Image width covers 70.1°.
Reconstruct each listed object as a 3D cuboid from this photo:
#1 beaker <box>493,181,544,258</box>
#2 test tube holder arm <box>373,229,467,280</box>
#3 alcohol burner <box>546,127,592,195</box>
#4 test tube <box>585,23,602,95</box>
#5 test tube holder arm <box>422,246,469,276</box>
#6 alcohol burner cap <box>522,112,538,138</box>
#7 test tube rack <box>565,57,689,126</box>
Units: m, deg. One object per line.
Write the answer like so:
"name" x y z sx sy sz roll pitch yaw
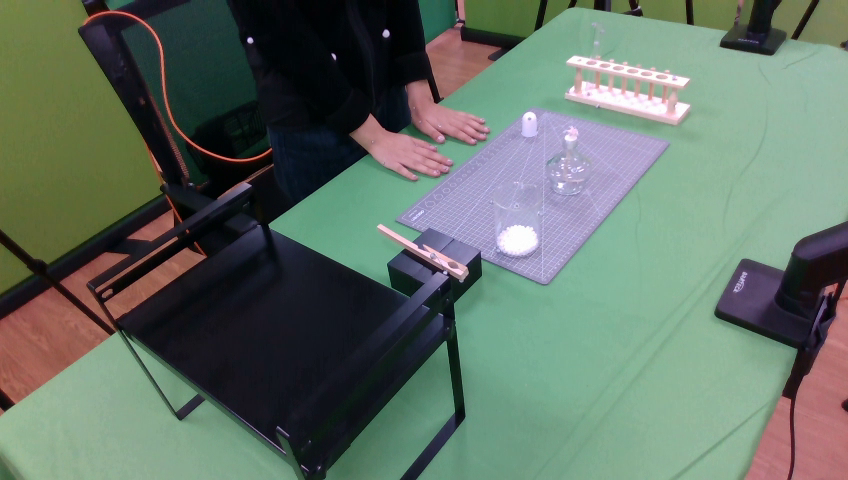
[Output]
"beaker" 0.145 -0.030 0.925 0.074 0.101 0.084 6 41 16
"test tube holder arm" -0.010 0.019 0.885 0.177 0.015 0.013 23 48 33
"alcohol burner" 0.246 -0.137 1.024 0.078 0.119 0.077 -4 38 4
"test tube" 0.342 -0.363 1.226 0.017 0.151 0.017 -2 42 2
"test tube holder arm" 0.028 0.031 0.864 0.087 0.015 0.010 25 49 34
"alcohol burner cap" 0.210 -0.230 1.195 0.034 0.048 0.033 -5 41 5
"test tube rack" 0.411 -0.311 1.230 0.240 0.085 0.067 23 49 32
